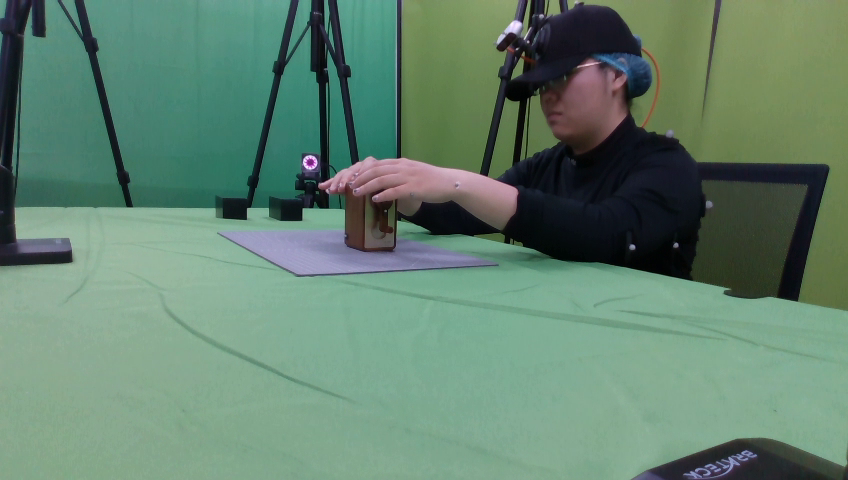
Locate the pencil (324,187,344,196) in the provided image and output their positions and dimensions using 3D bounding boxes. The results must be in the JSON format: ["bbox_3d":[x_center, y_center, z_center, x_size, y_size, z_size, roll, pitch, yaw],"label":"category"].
[{"bbox_3d":[-0.127,-0.076,1.020,0.012,0.012,0.193,-2,10,-32],"label":"pencil"}]

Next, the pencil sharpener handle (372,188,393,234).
[{"bbox_3d":[-0.057,-0.043,0.913,0.036,0.067,0.030,-3,10,-33],"label":"pencil sharpener handle"}]

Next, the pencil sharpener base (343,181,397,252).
[{"bbox_3d":[-0.085,-0.038,0.956,0.062,0.107,0.076,-2,9,-33],"label":"pencil sharpener base"}]
